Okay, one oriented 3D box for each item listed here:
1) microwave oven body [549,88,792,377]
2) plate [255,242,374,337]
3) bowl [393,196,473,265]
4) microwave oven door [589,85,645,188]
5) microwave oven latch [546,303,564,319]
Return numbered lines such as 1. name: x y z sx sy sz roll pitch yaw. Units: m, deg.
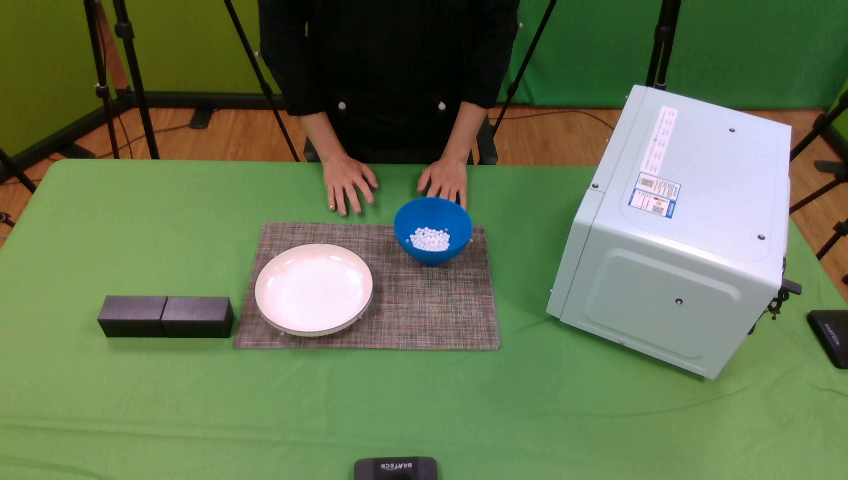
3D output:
1. microwave oven body: 0.456 -0.028 1.088 0.325 0.261 0.440 20 47 16
2. plate: -0.192 0.090 1.079 0.208 0.039 0.206 2 46 -2
3. bowl: 0.014 -0.005 1.159 0.151 0.077 0.150 2 46 -2
4. microwave oven door: 0.342 -0.107 1.149 0.039 0.245 0.354 20 48 15
5. microwave oven latch: 0.242 0.102 1.081 0.030 0.029 0.079 21 48 17
